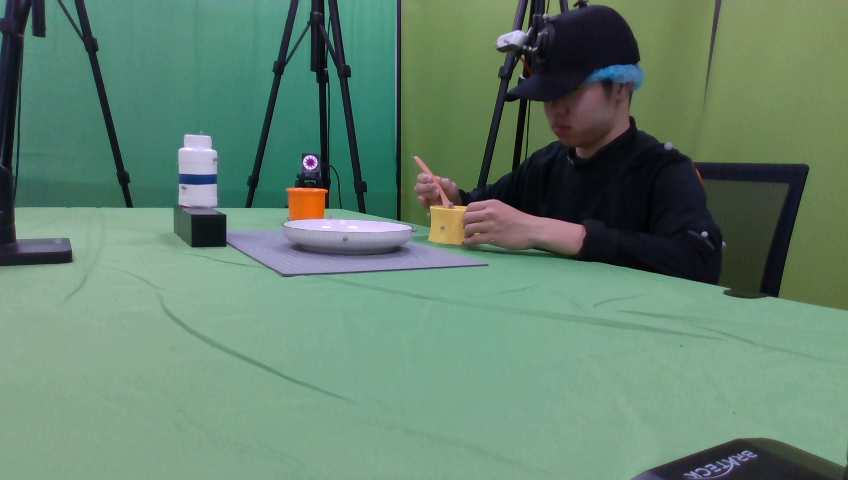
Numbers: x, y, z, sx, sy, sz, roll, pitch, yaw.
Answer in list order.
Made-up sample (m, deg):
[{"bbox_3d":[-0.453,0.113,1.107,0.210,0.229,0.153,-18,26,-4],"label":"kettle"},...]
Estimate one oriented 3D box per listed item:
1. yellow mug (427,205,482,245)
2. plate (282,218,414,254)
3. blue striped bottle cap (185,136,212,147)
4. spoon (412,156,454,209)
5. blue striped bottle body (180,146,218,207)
[{"bbox_3d":[0.062,-0.027,1.111,0.100,0.064,0.130,0,8,-21],"label":"yellow mug"},{"bbox_3d":[-0.121,-0.007,0.971,0.208,0.039,0.207,2,7,0],"label":"plate"},{"bbox_3d":[-0.390,-0.169,1.047,0.044,0.020,0.044,4,10,0],"label":"blue striped bottle cap"},{"bbox_3d":[0.026,-0.094,1.139,0.042,0.021,0.193,-8,55,-34],"label":"spoon"},{"bbox_3d":[-0.392,-0.118,1.053,0.063,0.120,0.063,2,8,0],"label":"blue striped bottle body"}]
